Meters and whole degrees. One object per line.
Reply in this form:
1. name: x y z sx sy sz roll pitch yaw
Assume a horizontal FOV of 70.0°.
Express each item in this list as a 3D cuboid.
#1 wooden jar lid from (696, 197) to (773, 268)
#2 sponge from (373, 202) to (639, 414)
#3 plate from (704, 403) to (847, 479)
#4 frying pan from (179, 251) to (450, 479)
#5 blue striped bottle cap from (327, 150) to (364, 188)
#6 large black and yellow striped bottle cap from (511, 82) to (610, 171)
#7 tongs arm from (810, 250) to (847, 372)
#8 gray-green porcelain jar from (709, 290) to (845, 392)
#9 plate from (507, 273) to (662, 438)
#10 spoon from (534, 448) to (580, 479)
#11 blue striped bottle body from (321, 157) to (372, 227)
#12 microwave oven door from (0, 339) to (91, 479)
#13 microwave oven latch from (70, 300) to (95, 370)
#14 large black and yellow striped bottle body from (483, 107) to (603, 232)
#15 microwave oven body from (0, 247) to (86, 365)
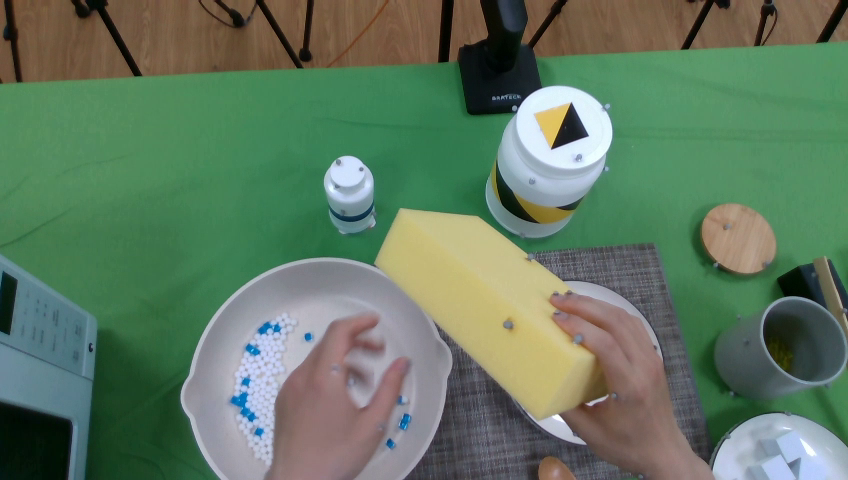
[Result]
1. wooden jar lid: 0.440 -0.010 0.865 0.108 0.021 0.107 2 70 -4
2. sponge: 0.067 0.049 0.528 0.205 0.119 0.061 41 114 32
3. plate: 0.437 0.304 0.732 0.208 0.039 0.206 2 68 -4
4. frying pan: -0.108 0.248 0.669 0.307 0.103 0.483 -6 61 -5
5. blue striped bottle cap: -0.096 -0.087 0.740 0.044 0.021 0.044 1 66 -2
6. large black and yellow striped bottle cap: 0.160 -0.135 0.710 0.115 0.019 0.114 2 67 -3
7. tongs arm: 0.566 0.195 0.755 0.051 0.026 0.383 -9 80 -10
8. gray-green porcelain jar: 0.428 0.130 0.752 0.106 0.127 0.105 2 68 -4
9. plate: 0.194 0.144 0.770 0.209 0.038 0.207 2 69 -3
10. spoon: 0.210 0.313 0.715 0.193 0.022 0.041 34 54 7
11. blue striped bottle body: -0.099 -0.069 0.788 0.063 0.121 0.062 2 68 -4
12. microwave oven door: -0.381 0.277 0.543 0.039 0.245 0.353 -5 69 -6
13. microwave oven latch: -0.409 0.112 0.716 0.030 0.029 0.078 -3 69 -6
14. large black and yellow striped bottle body: 0.154 -0.103 0.790 0.131 0.185 0.130 2 68 -4
15. microwave oven body: -0.531 0.250 0.547 0.326 0.261 0.438 -4 69 -7
